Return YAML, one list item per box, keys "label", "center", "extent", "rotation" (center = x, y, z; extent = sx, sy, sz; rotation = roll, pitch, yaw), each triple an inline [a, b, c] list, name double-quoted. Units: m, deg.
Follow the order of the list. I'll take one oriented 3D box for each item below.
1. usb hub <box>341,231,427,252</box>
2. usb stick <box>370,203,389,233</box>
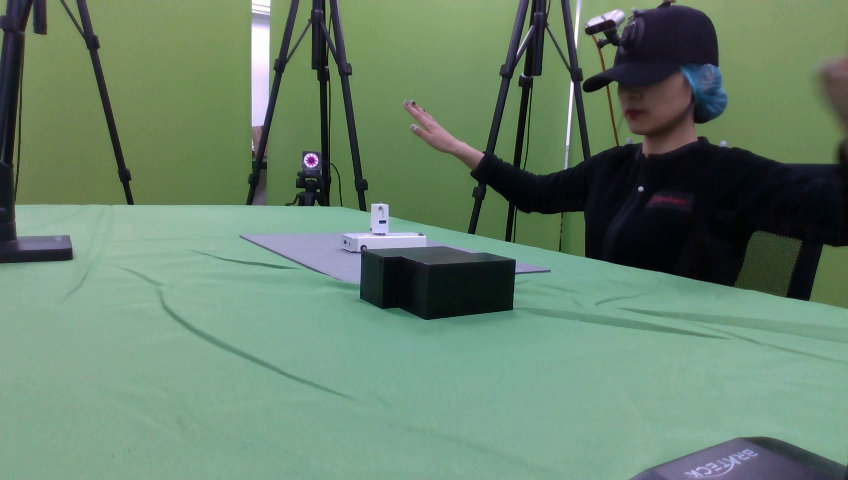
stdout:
- label: "usb hub"
  center: [-0.061, 0.002, 0.930]
  extent: [0.126, 0.025, 0.049]
  rotation: [-2, 9, -28]
- label: "usb stick"
  center: [-0.068, -0.027, 0.926]
  extent: [0.021, 0.059, 0.027]
  rotation: [-2, 11, -30]
